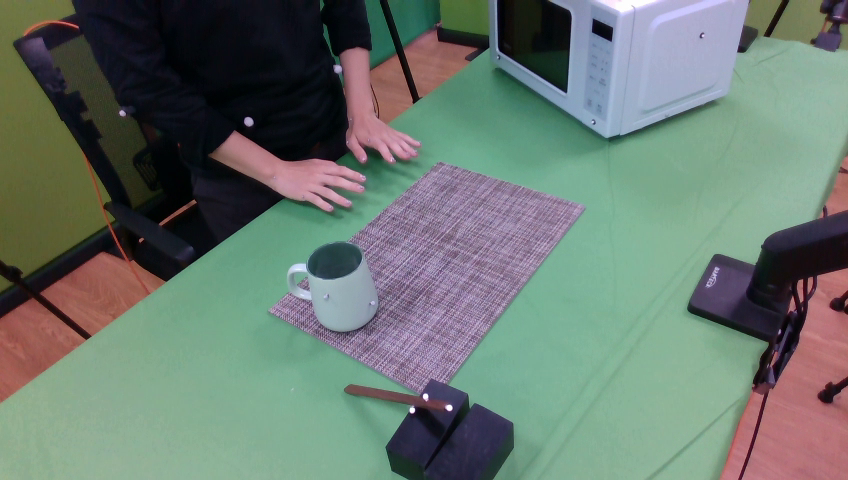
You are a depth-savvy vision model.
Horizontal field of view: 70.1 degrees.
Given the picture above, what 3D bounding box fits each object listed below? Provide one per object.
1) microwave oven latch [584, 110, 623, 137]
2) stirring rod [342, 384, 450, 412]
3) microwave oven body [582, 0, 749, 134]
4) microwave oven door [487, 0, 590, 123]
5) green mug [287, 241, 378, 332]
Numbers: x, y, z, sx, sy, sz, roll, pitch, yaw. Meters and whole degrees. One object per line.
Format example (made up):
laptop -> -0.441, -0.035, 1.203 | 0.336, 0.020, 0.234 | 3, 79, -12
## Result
microwave oven latch -> 0.337, -0.222, 1.142 | 0.030, 0.029, 0.078 | -21, 42, -14
stirring rod -> -0.038, 0.186, 0.714 | 0.175, 0.006, 0.014 | -3, 22, 43
microwave oven body -> 0.382, -0.444, 1.246 | 0.327, 0.261, 0.437 | -22, 42, -16
microwave oven door -> 0.232, -0.420, 1.231 | 0.039, 0.245, 0.352 | -22, 43, -16
green mug -> -0.131, 0.065, 0.843 | 0.125, 0.105, 0.092 | 3, 42, 12
